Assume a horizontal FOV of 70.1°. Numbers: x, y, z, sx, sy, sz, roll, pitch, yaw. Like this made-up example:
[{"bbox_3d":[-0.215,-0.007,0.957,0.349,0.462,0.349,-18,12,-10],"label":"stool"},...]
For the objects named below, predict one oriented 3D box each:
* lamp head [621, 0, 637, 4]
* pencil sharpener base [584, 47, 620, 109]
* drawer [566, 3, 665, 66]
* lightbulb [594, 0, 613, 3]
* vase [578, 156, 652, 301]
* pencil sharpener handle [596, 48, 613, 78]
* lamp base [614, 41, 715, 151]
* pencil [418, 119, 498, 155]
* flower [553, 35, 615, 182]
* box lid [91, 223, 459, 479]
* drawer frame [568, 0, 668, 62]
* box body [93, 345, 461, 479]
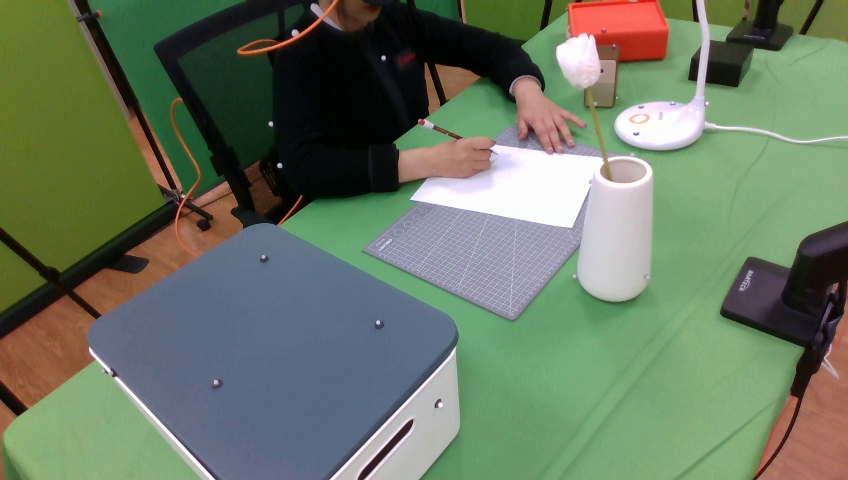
[{"bbox_3d":[0.319,-0.453,0.962,0.113,0.123,0.112,20,33,-13],"label":"lamp head"},{"bbox_3d":[0.367,-0.336,1.249,0.061,0.107,0.076,6,42,19],"label":"pencil sharpener base"},{"bbox_3d":[0.447,-0.493,1.440,0.211,0.073,0.194,0,40,10],"label":"drawer"},{"bbox_3d":[0.305,-0.437,0.978,0.060,0.107,0.059,12,43,-11],"label":"lightbulb"},{"bbox_3d":[0.261,-0.011,0.812,0.098,0.201,0.097,-4,40,4],"label":"vase"},{"bbox_3d":[0.382,-0.378,1.276,0.036,0.068,0.030,4,41,21],"label":"pencil sharpener handle"},{"bbox_3d":[0.449,-0.277,1.106,0.179,0.181,0.160,1,41,9],"label":"lamp base"},{"bbox_3d":[0.067,-0.184,1.102,0.196,0.012,0.012,15,25,-37],"label":"pencil"},{"bbox_3d":[0.237,-0.083,0.774,0.044,0.363,0.038,-22,26,7],"label":"flower"},{"bbox_3d":[-0.174,0.103,0.667,0.368,0.015,0.264,24,48,35],"label":"box lid"},{"bbox_3d":[0.450,-0.495,1.441,0.213,0.083,0.201,-1,40,9],"label":"drawer frame"},{"bbox_3d":[-0.162,0.170,0.708,0.361,0.161,0.255,25,50,34],"label":"box body"}]
